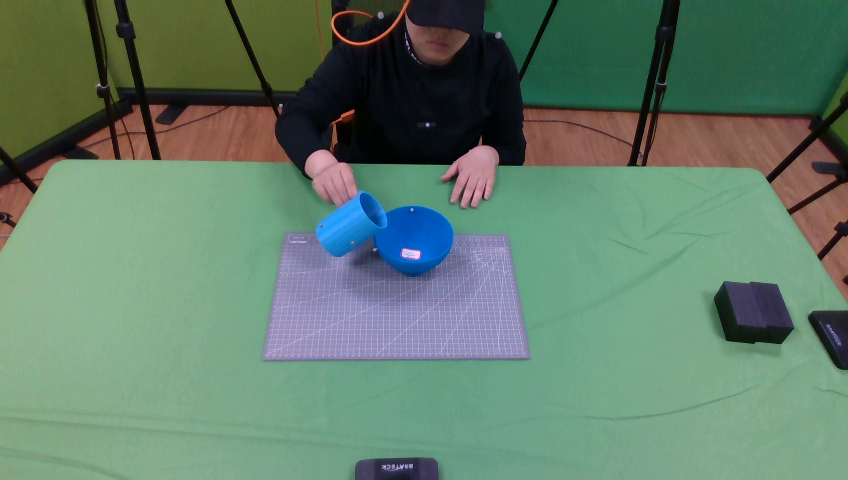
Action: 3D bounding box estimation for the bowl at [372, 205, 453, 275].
[{"bbox_3d":[-0.022,0.013,1.143,0.151,0.077,0.150,2,46,-2],"label":"bowl"}]

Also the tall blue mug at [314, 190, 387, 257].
[{"bbox_3d":[-0.137,-0.040,1.094,0.108,0.078,0.106,-32,69,23],"label":"tall blue mug"}]
